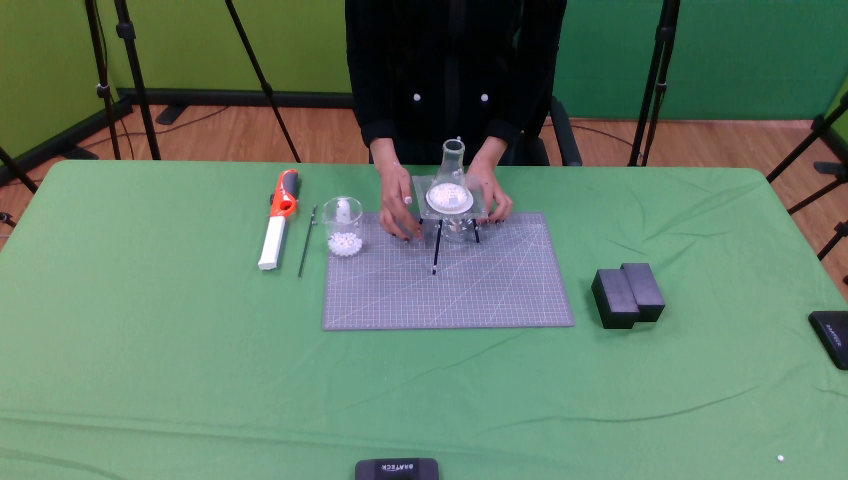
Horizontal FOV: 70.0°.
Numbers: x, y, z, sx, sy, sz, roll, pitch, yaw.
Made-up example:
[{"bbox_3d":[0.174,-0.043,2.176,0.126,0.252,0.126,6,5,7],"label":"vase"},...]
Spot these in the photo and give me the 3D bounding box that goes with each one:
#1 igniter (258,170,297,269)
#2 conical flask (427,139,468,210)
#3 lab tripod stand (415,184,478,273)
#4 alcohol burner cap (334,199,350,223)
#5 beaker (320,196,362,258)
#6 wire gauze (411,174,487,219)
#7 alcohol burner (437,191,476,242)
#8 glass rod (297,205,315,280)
[{"bbox_3d":[-0.294,-0.050,1.221,0.057,0.025,0.274,-5,45,4],"label":"igniter"},{"bbox_3d":[0.046,-0.117,1.061,0.075,0.122,0.075,3,46,-2],"label":"conical flask"},{"bbox_3d":[0.042,-0.031,1.152,0.148,0.132,0.147,3,44,-3],"label":"lab tripod stand"},{"bbox_3d":[-0.167,-0.061,1.228,0.034,0.048,0.033,2,47,-2],"label":"alcohol burner cap"},{"bbox_3d":[-0.156,-0.021,1.150,0.084,0.101,0.073,-30,54,-28],"label":"beaker"},{"bbox_3d":[0.044,-0.079,1.107,0.125,0.011,0.120,-4,44,-6],"label":"wire gauze"},{"bbox_3d":[0.065,-0.052,1.189,0.078,0.119,0.077,2,48,-2],"label":"alcohol burner"},{"bbox_3d":[-0.231,0.001,1.192,0.008,0.008,0.198,2,46,-1],"label":"glass rod"}]
